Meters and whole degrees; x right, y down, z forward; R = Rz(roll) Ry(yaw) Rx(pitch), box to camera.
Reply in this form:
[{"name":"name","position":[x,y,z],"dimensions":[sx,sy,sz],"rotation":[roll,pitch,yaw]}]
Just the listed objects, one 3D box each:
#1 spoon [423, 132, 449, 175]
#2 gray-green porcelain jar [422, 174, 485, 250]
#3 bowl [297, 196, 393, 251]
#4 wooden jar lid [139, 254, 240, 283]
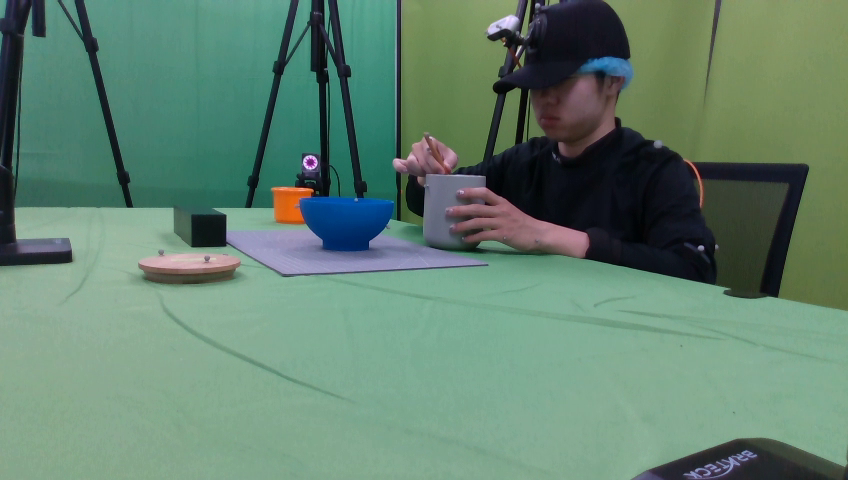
[{"name":"spoon","position":[0.040,-0.096,1.031],"dimensions":[0.021,0.194,0.041],"rotation":[-22,18,-3]},{"name":"gray-green porcelain jar","position":[0.050,-0.049,1.040],"dimensions":[0.106,0.126,0.106],"rotation":[2,8,0]},{"name":"bowl","position":[-0.125,-0.026,0.958],"dimensions":[0.151,0.077,0.151],"rotation":[3,7,0]},{"name":"wooden jar lid","position":[-0.269,0.032,0.697],"dimensions":[0.108,0.020,0.108],"rotation":[2,5,0]}]
